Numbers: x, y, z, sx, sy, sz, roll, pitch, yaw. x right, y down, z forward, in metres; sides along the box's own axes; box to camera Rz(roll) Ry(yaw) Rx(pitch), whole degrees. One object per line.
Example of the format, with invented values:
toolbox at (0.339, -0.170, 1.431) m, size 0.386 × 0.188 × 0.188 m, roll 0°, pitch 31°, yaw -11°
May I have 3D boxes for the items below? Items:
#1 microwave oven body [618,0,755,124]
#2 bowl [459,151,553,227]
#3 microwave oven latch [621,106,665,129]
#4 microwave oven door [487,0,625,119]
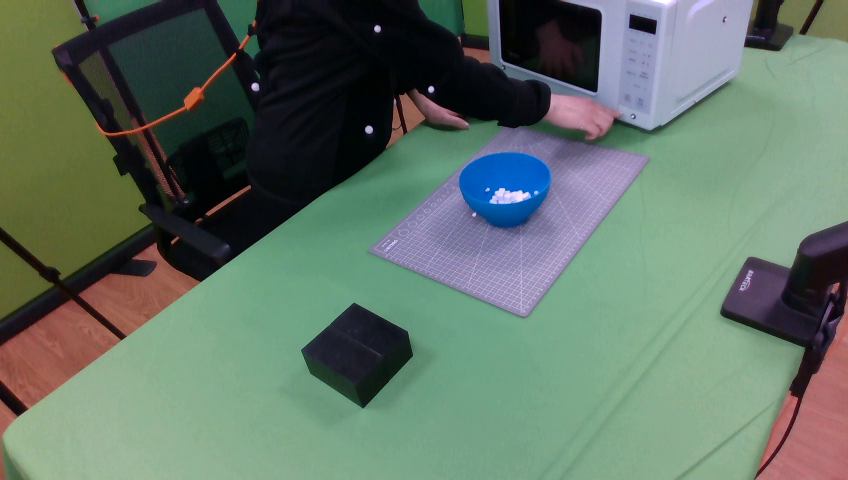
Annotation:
microwave oven body at (0.402, -0.458, 1.259) m, size 0.327 × 0.261 × 0.437 m, roll -33°, pitch 45°, yaw -24°
bowl at (0.137, -0.074, 1.000) m, size 0.151 × 0.077 × 0.150 m, roll -5°, pitch 40°, yaw 5°
microwave oven latch at (0.413, -0.237, 1.146) m, size 0.030 × 0.029 × 0.078 m, roll -32°, pitch 44°, yaw -23°
microwave oven door at (0.262, -0.409, 1.221) m, size 0.039 × 0.245 × 0.352 m, roll -33°, pitch 45°, yaw -25°
